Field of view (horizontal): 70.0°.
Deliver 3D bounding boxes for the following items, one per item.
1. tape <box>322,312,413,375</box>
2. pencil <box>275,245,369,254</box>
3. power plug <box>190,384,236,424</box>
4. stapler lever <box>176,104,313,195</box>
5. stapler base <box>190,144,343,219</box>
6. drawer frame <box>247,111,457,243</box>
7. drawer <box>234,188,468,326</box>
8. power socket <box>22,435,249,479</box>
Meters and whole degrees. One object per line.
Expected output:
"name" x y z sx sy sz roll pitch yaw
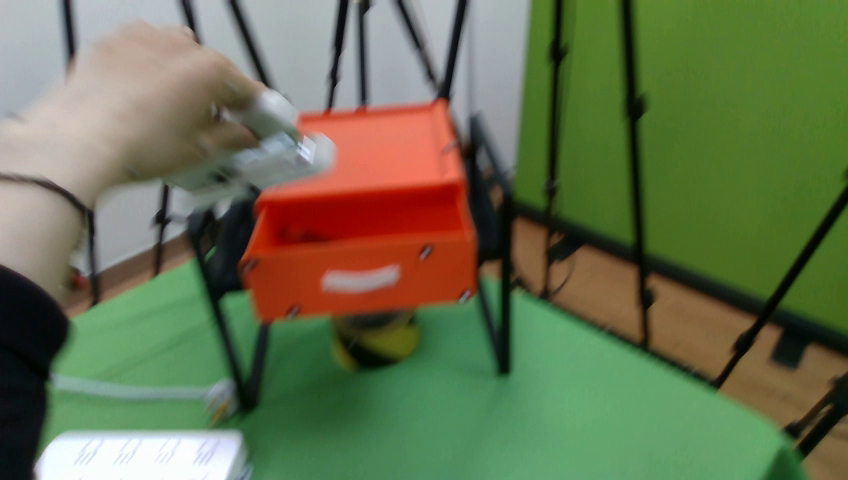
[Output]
"tape" -0.069 0.111 0.768 0.117 0.053 0.116 -2 34 2
"pencil" -0.080 0.010 0.601 0.193 0.012 0.012 0 31 29
"power plug" -0.245 0.194 0.693 0.072 0.035 0.052 -34 17 25
"stapler lever" -0.137 -0.066 0.447 0.118 0.040 0.026 -14 45 17
"stapler base" -0.126 -0.051 0.464 0.130 0.025 0.041 -14 45 17
"drawer frame" -0.074 -0.064 0.678 0.202 0.083 0.211 -6 32 -2
"drawer" -0.065 -0.012 0.602 0.194 0.074 0.209 -6 32 -2
"power socket" -0.294 0.236 0.616 0.226 0.033 0.071 -2 32 4
